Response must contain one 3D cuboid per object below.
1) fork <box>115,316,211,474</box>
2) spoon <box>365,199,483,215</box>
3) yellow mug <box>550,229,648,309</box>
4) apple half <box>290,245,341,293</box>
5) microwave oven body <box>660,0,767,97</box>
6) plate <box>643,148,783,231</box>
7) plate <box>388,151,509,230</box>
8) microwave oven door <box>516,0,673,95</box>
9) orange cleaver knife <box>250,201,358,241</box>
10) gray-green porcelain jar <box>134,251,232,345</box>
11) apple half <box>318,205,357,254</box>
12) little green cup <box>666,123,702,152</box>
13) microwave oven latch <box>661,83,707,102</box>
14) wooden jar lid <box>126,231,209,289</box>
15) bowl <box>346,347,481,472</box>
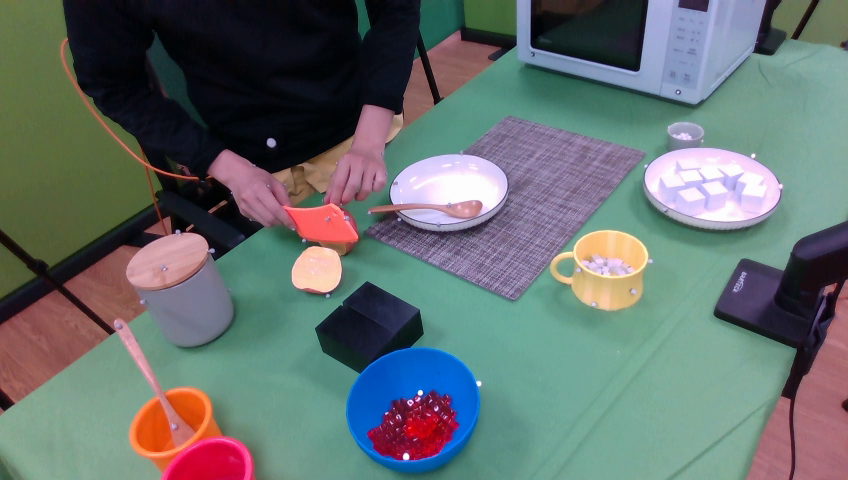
[{"bbox_3d":[-0.308,0.179,0.708,0.028,0.018,0.207,-30,89,-22],"label":"fork"},{"bbox_3d":[0.001,-0.056,0.997,0.194,0.022,0.041,1,41,-8],"label":"spoon"},{"bbox_3d":[0.245,0.040,0.857,0.130,0.064,0.099,1,42,11],"label":"yellow mug"},{"bbox_3d":[-0.161,0.047,0.924,0.081,0.033,0.081,-1,66,2],"label":"apple half"},{"bbox_3d":[0.473,-0.517,1.314,0.438,0.261,0.327,26,51,34],"label":"microwave oven body"},{"bbox_3d":[0.464,-0.079,0.986,0.207,0.039,0.206,-4,41,4],"label":"plate"},{"bbox_3d":[0.044,-0.082,1.042,0.209,0.038,0.208,-4,40,4],"label":"plate"},{"bbox_3d":[0.344,-0.458,1.256,0.353,0.245,0.039,26,51,33],"label":"microwave oven door"},{"bbox_3d":[-0.190,-0.030,0.942,0.209,0.077,0.012,6,42,35],"label":"orange cleaver knife"},{"bbox_3d":[-0.334,0.077,0.849,0.106,0.127,0.105,-4,41,4],"label":"gray-green porcelain jar"},{"bbox_3d":[-0.140,-0.022,0.978,0.080,0.075,0.053,18,44,31],"label":"apple half"},{"bbox_3d":[0.472,-0.183,1.103,0.061,0.039,0.061,-5,40,5],"label":"little green cup"},{"bbox_3d":[0.516,-0.298,1.202,0.078,0.029,0.030,25,51,33],"label":"microwave oven latch"},{"bbox_3d":[-0.340,0.030,0.808,0.108,0.021,0.108,-5,39,5],"label":"wooden jar lid"},{"bbox_3d":[-0.008,0.205,0.691,0.151,0.077,0.150,-4,40,4],"label":"bowl"}]
